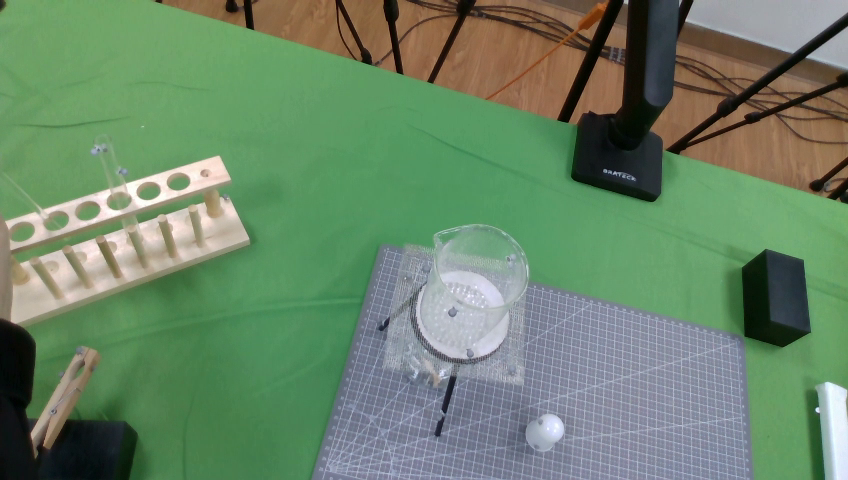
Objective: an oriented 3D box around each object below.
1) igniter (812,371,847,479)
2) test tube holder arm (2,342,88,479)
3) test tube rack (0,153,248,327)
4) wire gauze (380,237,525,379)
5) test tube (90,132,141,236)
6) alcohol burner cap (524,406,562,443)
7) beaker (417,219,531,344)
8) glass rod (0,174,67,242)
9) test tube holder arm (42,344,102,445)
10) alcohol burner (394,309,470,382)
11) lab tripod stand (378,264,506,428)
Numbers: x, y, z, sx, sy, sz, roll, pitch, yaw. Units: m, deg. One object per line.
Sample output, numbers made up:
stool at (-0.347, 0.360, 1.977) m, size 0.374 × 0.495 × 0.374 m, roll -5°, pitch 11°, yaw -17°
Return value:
igniter at (0.435, 0.271, 0.635) m, size 0.057 × 0.025 × 0.274 m, roll 22°, pitch 59°, yaw -9°
test tube holder arm at (-0.325, 0.168, 0.504) m, size 0.013 × 0.015 × 0.177 m, roll 17°, pitch 58°, yaw -1°
test tube rack at (-0.313, -0.003, 0.620) m, size 0.243 × 0.086 × 0.066 m, roll -23°, pitch 67°, yaw -21°
wire gauze at (0.030, 0.060, 0.541) m, size 0.121 × 0.011 × 0.124 m, roll 9°, pitch 63°, yaw -3°
test tube at (-0.298, -0.048, 0.591) m, size 0.017 × 0.151 × 0.017 m, roll 6°, pitch 55°, yaw -8°
alcohol burner cap at (0.123, 0.186, 0.616) m, size 0.034 × 0.048 × 0.033 m, roll 3°, pitch 63°, yaw -5°
beaker at (0.033, 0.037, 0.497) m, size 0.083 × 0.101 × 0.074 m, roll 37°, pitch 61°, yaw 11°
glass rod at (-0.360, -0.050, 0.515) m, size 0.008 × 0.201 × 0.008 m, roll 0°, pitch 60°, yaw 1°
test tube holder arm at (-0.309, 0.133, 0.527) m, size 0.010 × 0.015 × 0.087 m, roll 17°, pitch 58°, yaw 0°
alcohol burner at (0.011, 0.098, 0.603) m, size 0.078 × 0.120 × 0.077 m, roll 6°, pitch 59°, yaw -9°
lab tripod stand at (0.022, 0.096, 0.594) m, size 0.149 × 0.132 × 0.147 m, roll 5°, pitch 61°, yaw -9°
